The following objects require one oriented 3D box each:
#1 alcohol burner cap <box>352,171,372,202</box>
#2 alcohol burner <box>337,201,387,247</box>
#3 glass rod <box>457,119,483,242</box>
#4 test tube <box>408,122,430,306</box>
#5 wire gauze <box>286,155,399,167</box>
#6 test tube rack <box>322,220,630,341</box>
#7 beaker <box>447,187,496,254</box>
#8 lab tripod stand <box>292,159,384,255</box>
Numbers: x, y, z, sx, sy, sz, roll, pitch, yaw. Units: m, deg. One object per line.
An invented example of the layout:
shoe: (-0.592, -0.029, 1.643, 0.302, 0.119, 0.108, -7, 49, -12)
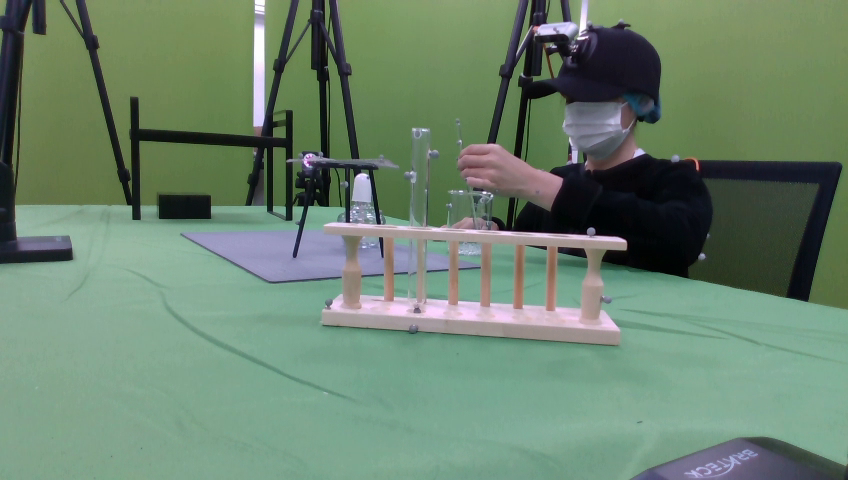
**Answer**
alcohol burner cap: (-0.096, -0.084, 0.951, 0.034, 0.048, 0.034, 6, 5, 0)
alcohol burner: (-0.098, -0.049, 0.954, 0.078, 0.119, 0.078, 0, 7, 0)
glass rod: (0.073, -0.091, 0.950, 0.008, 0.199, 0.008, -12, 13, 3)
test tube: (-0.004, -0.019, 0.489, 0.017, 0.150, 0.017, 1, 11, 0)
wire gauze: (-0.101, -0.105, 0.788, 0.121, 0.011, 0.125, 4, 6, 6)
test tube rack: (0.041, 0.029, 0.512, 0.242, 0.085, 0.067, 3, 7, 5)
beaker: (0.076, -0.031, 0.949, 0.074, 0.100, 0.083, -5, 11, -42)
lab tripod stand: (-0.105, -0.039, 0.797, 0.148, 0.131, 0.148, 2, 5, 0)
